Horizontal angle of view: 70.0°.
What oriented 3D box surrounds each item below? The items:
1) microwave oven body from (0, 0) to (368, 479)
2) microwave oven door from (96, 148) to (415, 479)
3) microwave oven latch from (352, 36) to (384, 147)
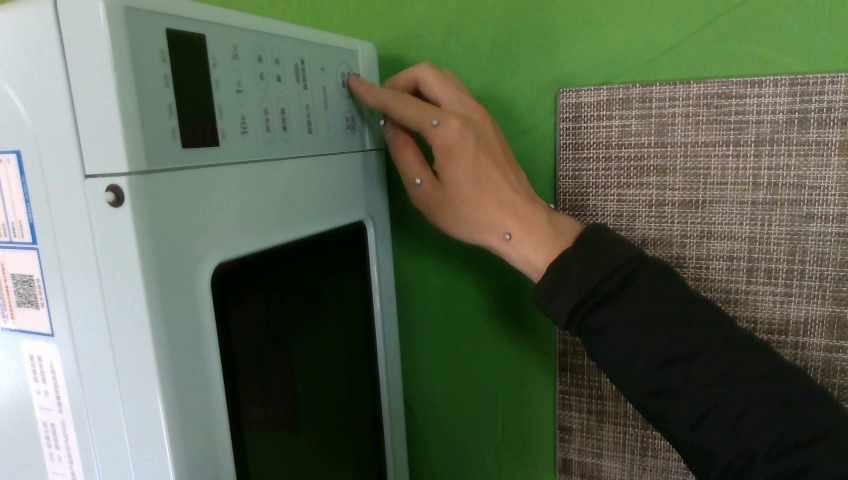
[{"bbox_3d":[-0.212,0.080,0.461,0.324,0.260,0.443,1,102,23],"label":"microwave oven body"},{"bbox_3d":[-0.078,0.124,0.406,0.039,0.244,0.357,1,102,24],"label":"microwave oven door"},{"bbox_3d":[-0.050,-0.110,0.453,0.030,0.029,0.079,2,103,23],"label":"microwave oven latch"}]
